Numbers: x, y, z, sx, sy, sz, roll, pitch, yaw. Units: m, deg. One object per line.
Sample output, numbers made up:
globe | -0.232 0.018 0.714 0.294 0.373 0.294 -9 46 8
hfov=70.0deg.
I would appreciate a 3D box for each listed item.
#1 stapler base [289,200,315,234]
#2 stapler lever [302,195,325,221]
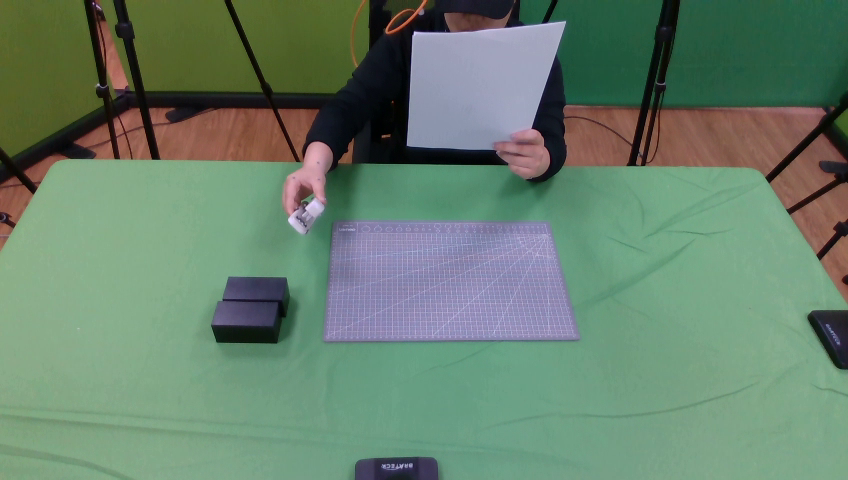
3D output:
stapler base | -0.219 -0.049 1.132 0.024 0.041 0.130 -36 15 10
stapler lever | -0.200 -0.064 1.129 0.040 0.027 0.117 -36 15 11
